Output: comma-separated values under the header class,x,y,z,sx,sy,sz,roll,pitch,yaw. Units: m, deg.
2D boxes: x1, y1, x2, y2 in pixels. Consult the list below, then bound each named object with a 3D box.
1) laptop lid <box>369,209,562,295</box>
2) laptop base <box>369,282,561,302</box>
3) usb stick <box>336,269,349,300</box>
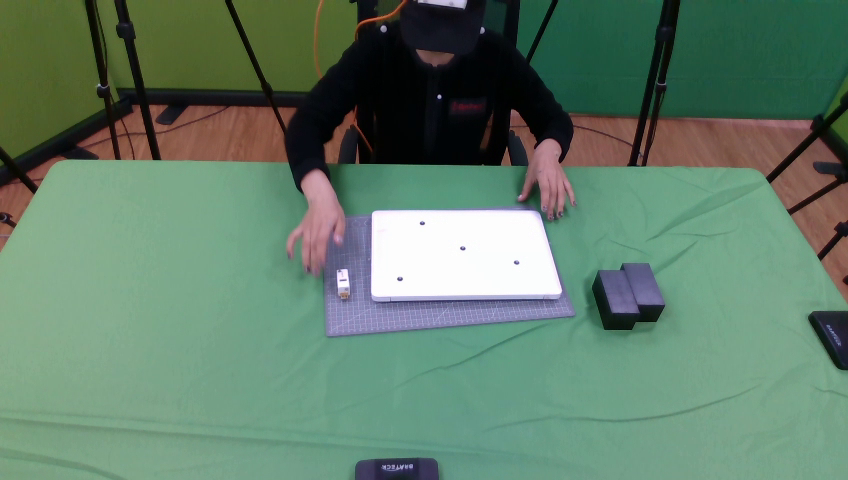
class,x,y,z,sx,sy,sz,roll,pitch,yaw
laptop lid,0.073,0.018,1.172,0.357,0.013,0.240,1,44,-4
laptop base,0.072,0.028,1.179,0.355,0.023,0.234,0,43,-5
usb stick,-0.148,0.082,1.101,0.021,0.027,0.059,-4,50,-9
